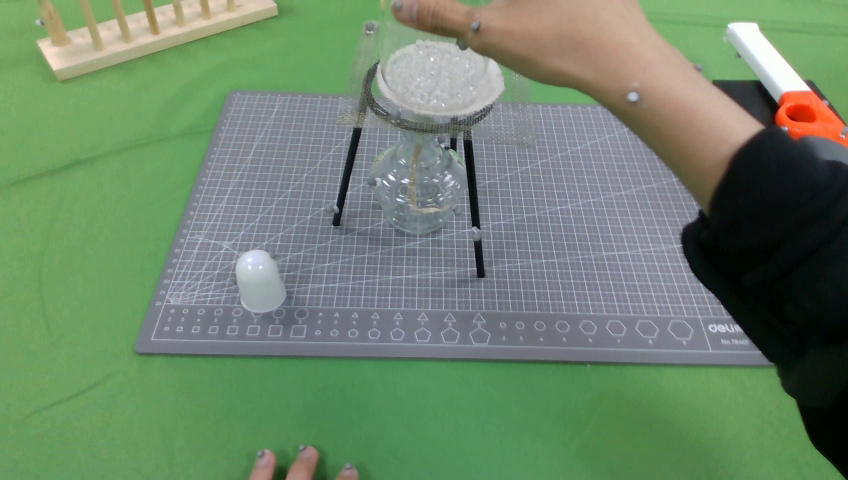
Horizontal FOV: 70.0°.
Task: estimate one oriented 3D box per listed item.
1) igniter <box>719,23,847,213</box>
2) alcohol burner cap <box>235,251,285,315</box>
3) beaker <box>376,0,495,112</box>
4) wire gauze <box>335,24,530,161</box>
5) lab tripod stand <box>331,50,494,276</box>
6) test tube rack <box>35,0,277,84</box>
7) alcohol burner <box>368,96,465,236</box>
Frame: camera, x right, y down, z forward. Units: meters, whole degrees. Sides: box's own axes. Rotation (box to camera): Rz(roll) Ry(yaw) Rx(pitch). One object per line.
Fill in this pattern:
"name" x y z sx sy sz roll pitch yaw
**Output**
"igniter" 0.328 -0.118 0.535 0.057 0.025 0.273 -2 47 -1
"alcohol burner cap" -0.118 0.028 0.430 0.034 0.048 0.033 3 48 -2
"beaker" 0.007 -0.134 0.365 0.074 0.101 0.083 -6 51 -8
"wire gauze" 0.010 -0.107 0.407 0.125 0.011 0.120 8 53 -1
"lab tripod stand" 0.003 -0.058 0.452 0.148 0.132 0.147 3 49 -3
"test tube rack" -0.286 -0.255 0.640 0.242 0.086 0.066 -28 57 -25
"alcohol burner" -0.005 -0.060 0.465 0.078 0.120 0.077 1 50 -1
